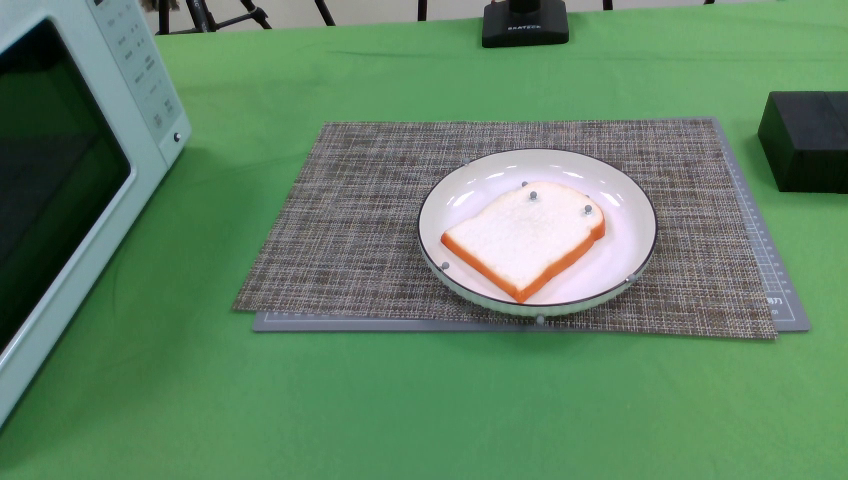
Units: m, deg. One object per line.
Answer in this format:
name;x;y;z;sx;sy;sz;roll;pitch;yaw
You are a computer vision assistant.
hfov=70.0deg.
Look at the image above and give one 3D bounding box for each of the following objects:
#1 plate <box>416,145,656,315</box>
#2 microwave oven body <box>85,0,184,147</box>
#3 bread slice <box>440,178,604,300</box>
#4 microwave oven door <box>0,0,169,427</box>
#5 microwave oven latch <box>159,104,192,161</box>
plate;0.097;-0.011;0.545;0.209;0.038;0.207;-5;44;5
microwave oven body;-0.472;-0.070;0.529;0.325;0.263;0.437;0;45;8
bread slice;0.094;-0.012;0.548;0.131;0.019;0.104;-33;49;-24
microwave oven door;-0.332;-0.045;0.475;0.039;0.246;0.352;0;44;9
microwave oven latch;-0.296;-0.124;0.700;0.030;0.030;0.078;1;45;9
